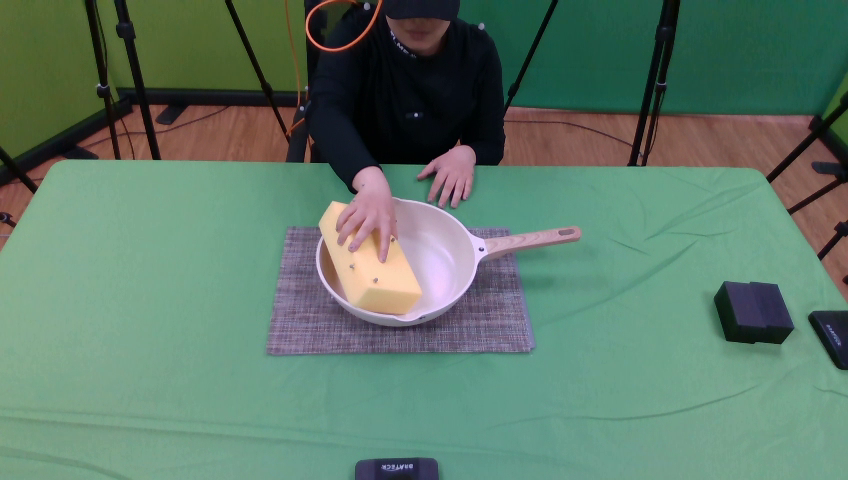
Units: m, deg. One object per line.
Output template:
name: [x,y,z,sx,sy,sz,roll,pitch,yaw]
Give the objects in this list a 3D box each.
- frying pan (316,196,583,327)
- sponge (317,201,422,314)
frying pan: [0.054,0.027,1.114,0.488,0.103,0.304,-9,48,-1]
sponge: [-0.100,0.030,1.079,0.119,0.061,0.205,9,41,-40]
